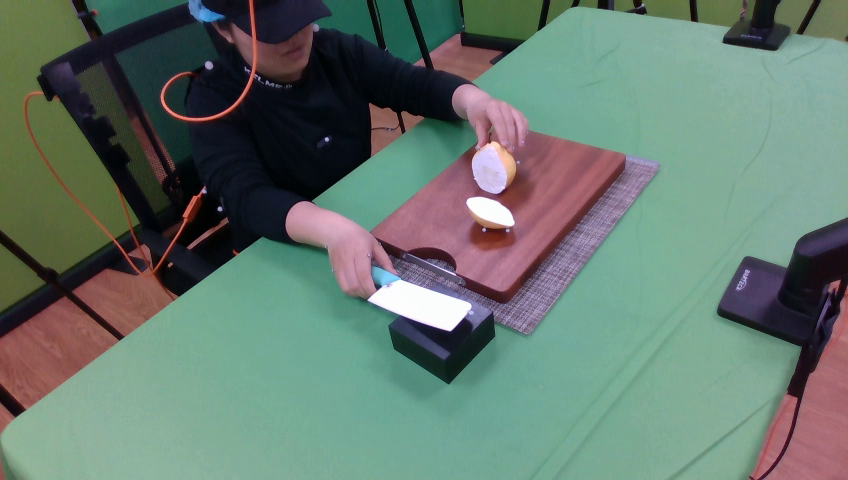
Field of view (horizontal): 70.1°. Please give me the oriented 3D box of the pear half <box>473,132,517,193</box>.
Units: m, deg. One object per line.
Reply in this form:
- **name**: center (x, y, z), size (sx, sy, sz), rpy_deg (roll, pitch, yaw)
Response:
- **pear half**: center (0.123, -0.139, 1.016), size (0.076, 0.110, 0.056), rpy_deg (20, 49, 27)

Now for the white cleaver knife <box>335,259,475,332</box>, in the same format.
- **white cleaver knife**: center (-0.045, 0.072, 0.860), size (0.066, 0.021, 0.284), rpy_deg (-36, 32, -32)

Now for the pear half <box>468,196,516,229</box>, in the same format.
- **pear half**: center (0.106, -0.037, 0.957), size (0.071, 0.031, 0.087), rpy_deg (-22, 52, -37)
